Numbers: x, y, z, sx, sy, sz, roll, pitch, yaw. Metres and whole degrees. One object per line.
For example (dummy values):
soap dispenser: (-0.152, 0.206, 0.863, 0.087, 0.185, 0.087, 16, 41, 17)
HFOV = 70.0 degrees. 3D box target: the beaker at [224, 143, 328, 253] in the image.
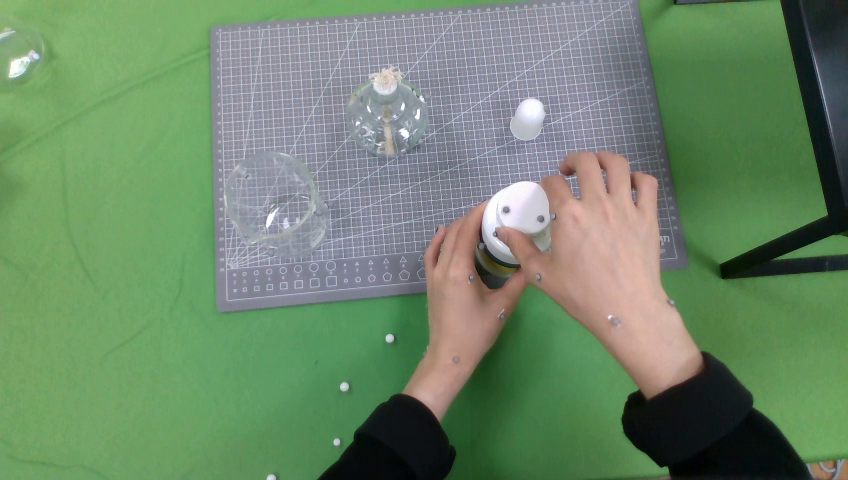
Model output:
beaker: (-0.127, -0.029, 0.539, 0.074, 0.100, 0.083, 23, 78, 5)

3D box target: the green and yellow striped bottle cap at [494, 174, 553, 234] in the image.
green and yellow striped bottle cap: (0.077, -0.028, 0.469, 0.045, 0.020, 0.045, -1, 80, 4)

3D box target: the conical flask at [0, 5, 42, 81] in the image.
conical flask: (-0.427, -0.209, 0.564, 0.075, 0.122, 0.075, 0, 77, 0)

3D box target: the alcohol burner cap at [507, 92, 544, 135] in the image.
alcohol burner cap: (0.101, -0.126, 0.593, 0.034, 0.048, 0.033, 0, 77, -1)

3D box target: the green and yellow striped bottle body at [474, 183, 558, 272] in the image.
green and yellow striped bottle body: (0.079, -0.012, 0.527, 0.063, 0.120, 0.063, 0, 77, 0)

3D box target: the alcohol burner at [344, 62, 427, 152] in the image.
alcohol burner: (-0.036, -0.127, 0.554, 0.078, 0.119, 0.077, 1, 76, -2)
